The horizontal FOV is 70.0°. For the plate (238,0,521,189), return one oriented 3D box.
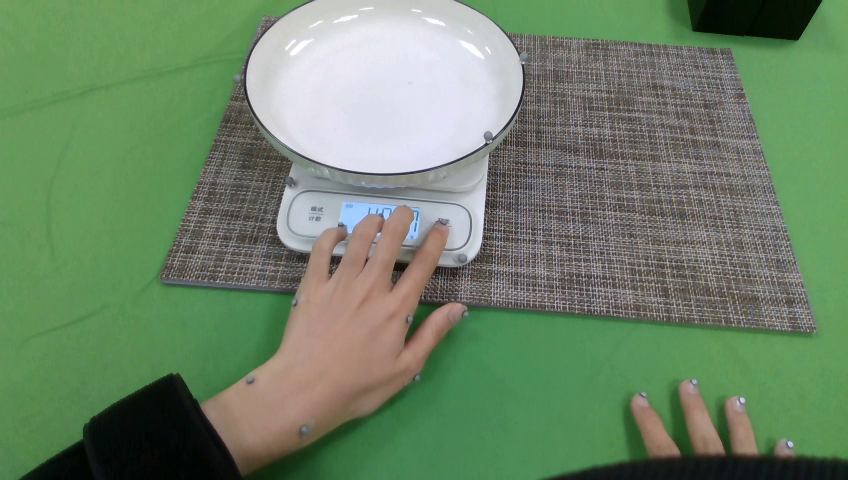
[{"bbox_3d":[-0.032,-0.116,0.461,0.208,0.039,0.205,1,55,-2],"label":"plate"}]

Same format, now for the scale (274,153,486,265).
[{"bbox_3d":[-0.025,-0.074,0.473,0.148,0.032,0.199,6,56,3],"label":"scale"}]
